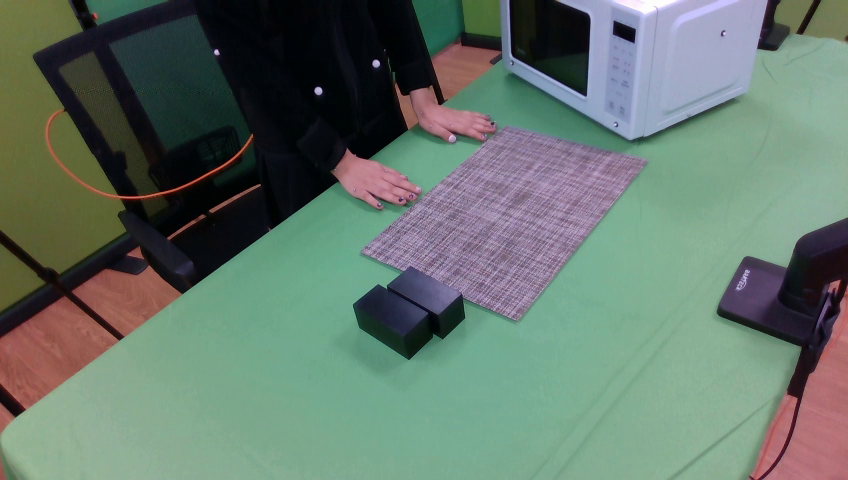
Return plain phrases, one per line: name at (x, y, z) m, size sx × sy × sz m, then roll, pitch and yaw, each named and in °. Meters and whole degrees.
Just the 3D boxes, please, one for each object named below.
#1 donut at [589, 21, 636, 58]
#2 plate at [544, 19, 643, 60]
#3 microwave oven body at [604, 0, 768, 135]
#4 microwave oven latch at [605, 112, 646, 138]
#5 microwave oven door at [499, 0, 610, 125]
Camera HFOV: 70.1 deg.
donut at (0.402, -0.429, 1.295) m, size 0.099 × 0.048 × 0.098 m, roll 2°, pitch 53°, yaw -2°
plate at (0.359, -0.427, 1.292) m, size 0.209 × 0.038 × 0.208 m, roll 0°, pitch 35°, yaw 0°
microwave oven body at (0.411, -0.441, 1.235) m, size 0.327 × 0.261 × 0.437 m, roll -25°, pitch 42°, yaw -16°
microwave oven latch at (0.375, -0.217, 1.130) m, size 0.030 × 0.029 × 0.078 m, roll -25°, pitch 42°, yaw -16°
microwave oven door at (0.261, -0.410, 1.219) m, size 0.039 × 0.245 × 0.352 m, roll -24°, pitch 42°, yaw -17°
